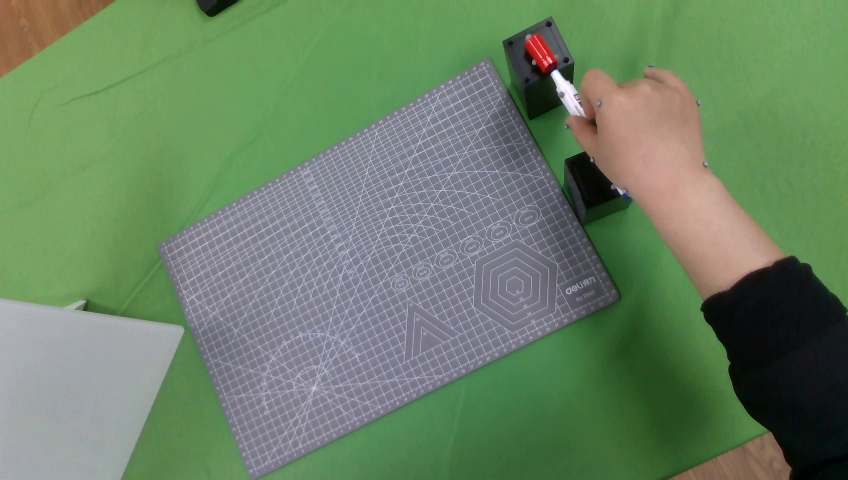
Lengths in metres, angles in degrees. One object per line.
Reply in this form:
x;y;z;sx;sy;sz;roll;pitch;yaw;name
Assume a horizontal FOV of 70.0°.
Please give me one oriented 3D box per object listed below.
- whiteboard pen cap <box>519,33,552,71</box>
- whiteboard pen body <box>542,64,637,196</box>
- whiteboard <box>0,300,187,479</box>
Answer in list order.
0.102;-0.171;0.550;0.017;0.017;0.032;-33;80;7;whiteboard pen cap
0.143;-0.099;0.534;0.017;0.017;0.140;-33;81;7;whiteboard pen body
-0.450;0.146;0.624;0.142;0.308;0.217;23;89;34;whiteboard
